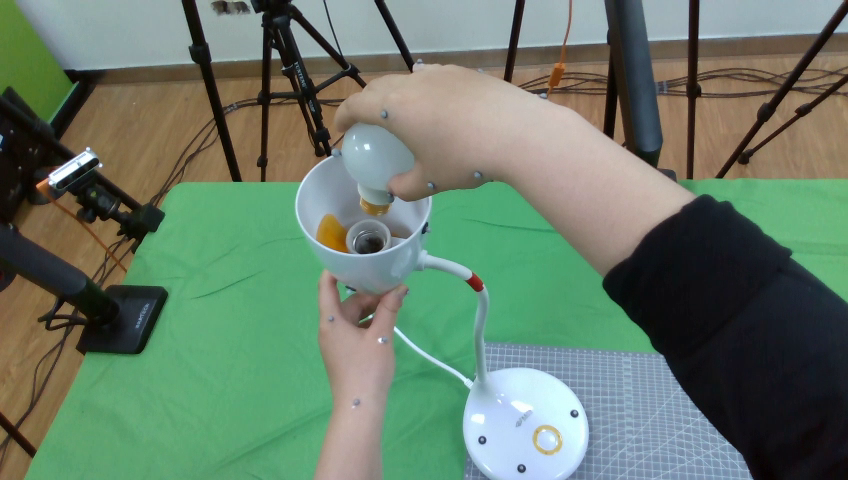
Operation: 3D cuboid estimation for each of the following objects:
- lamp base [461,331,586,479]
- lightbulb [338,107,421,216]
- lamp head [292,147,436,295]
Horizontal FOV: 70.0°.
[{"bbox_3d":[0.106,0.187,0.730,0.178,0.182,0.160,24,60,29],"label":"lamp base"},{"bbox_3d":[-0.035,-0.053,0.458,0.059,0.108,0.059,4,59,-7],"label":"lightbulb"},{"bbox_3d":[-0.046,-0.004,0.536,0.112,0.124,0.111,-4,56,6],"label":"lamp head"}]
